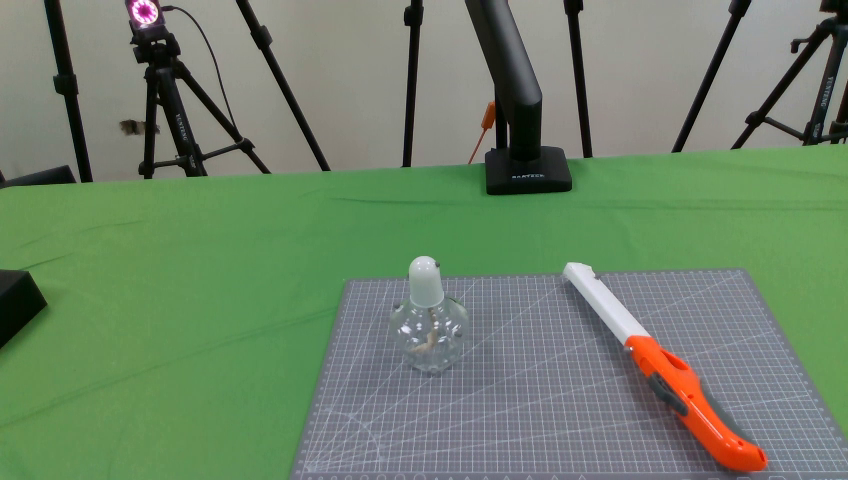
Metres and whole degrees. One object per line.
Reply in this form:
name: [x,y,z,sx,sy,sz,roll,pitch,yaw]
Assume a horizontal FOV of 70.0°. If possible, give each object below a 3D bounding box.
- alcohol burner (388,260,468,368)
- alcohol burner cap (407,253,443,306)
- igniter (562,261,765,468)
alcohol burner: [0.003,0.063,0.571,0.078,0.120,0.077,-2,36,2]
alcohol burner cap: [0.000,0.033,0.551,0.034,0.048,0.033,-2,38,2]
igniter: [0.205,0.099,0.561,0.057,0.025,0.273,7,27,-22]
